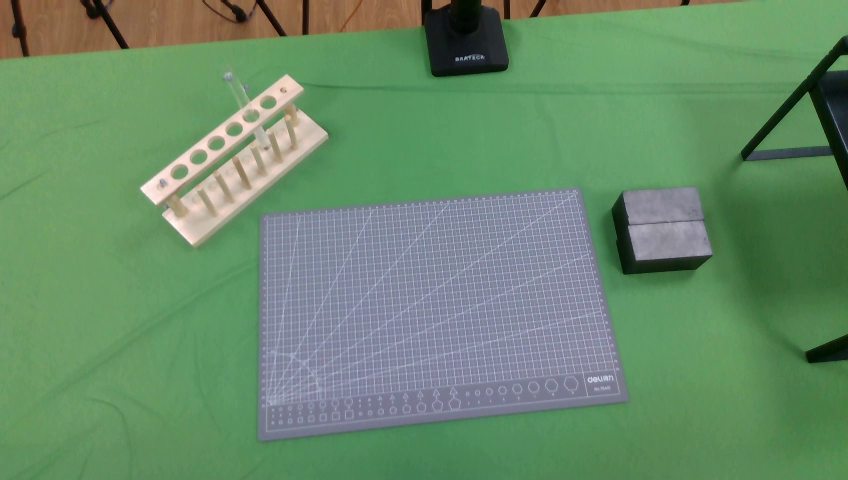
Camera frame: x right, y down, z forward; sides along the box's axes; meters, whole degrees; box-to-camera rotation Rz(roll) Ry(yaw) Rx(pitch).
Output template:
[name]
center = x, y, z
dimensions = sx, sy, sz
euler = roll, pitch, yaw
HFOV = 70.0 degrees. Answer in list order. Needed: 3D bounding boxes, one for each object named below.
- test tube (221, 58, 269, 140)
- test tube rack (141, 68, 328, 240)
[test tube]
center = -0.229, -0.179, 0.788
dimensions = 0.017, 0.151, 0.017
euler = -2, 63, 4
[test tube rack]
center = -0.246, -0.116, 0.816
dimensions = 0.066, 0.086, 0.242
euler = 41, 72, 15
